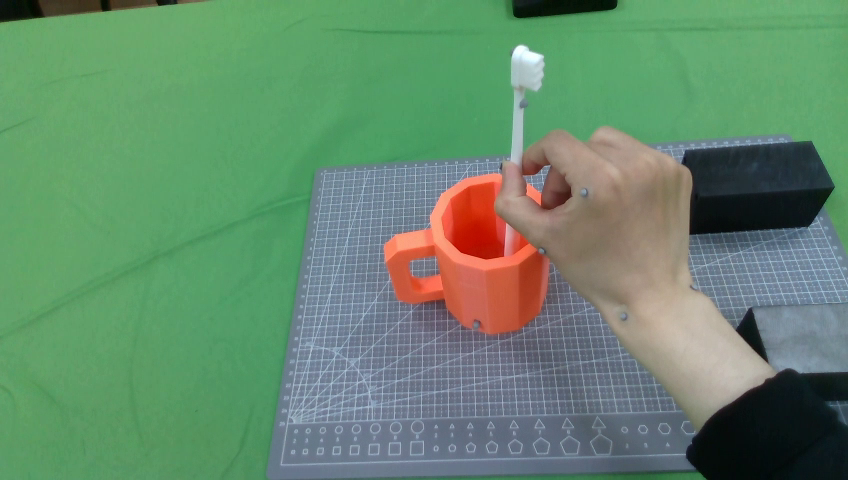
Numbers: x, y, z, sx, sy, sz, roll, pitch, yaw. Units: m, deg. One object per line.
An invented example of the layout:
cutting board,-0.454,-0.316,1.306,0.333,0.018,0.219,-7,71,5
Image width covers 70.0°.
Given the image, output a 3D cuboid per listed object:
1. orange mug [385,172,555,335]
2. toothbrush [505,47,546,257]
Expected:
orange mug,0.036,0.015,0.461,0.126,0.102,0.082,-8,54,-2
toothbrush,0.063,-0.040,0.392,0.016,0.183,0.014,25,55,24
